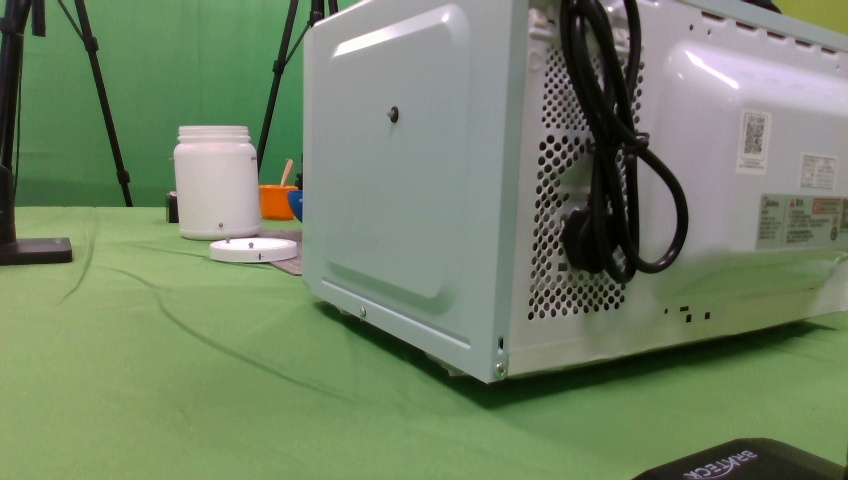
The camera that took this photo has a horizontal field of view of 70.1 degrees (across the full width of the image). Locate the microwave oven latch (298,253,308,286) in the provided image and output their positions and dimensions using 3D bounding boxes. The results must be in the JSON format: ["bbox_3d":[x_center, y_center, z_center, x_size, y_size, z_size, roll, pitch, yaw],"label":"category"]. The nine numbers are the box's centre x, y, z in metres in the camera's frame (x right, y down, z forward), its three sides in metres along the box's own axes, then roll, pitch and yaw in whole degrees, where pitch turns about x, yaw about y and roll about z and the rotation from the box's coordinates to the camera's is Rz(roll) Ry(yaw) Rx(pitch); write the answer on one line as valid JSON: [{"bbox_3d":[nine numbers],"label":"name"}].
[{"bbox_3d":[-0.081,0.027,0.582,0.079,0.029,0.030,-1,7,-32],"label":"microwave oven latch"}]

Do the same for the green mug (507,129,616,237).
[{"bbox_3d":[0.139,-0.058,0.633,0.093,0.105,0.124,-3,6,-44],"label":"green mug"}]

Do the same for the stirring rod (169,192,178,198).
[{"bbox_3d":[-0.465,-0.098,1.283,0.014,0.006,0.177,42,21,17],"label":"stirring rod"}]

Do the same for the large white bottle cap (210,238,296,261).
[{"bbox_3d":[-0.236,0.012,0.839,0.115,0.018,0.115,1,7,0],"label":"large white bottle cap"}]

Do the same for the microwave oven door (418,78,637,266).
[{"bbox_3d":[0.132,-0.104,0.894,0.354,0.243,0.039,9,10,43],"label":"microwave oven door"}]

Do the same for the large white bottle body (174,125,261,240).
[{"bbox_3d":[-0.349,-0.100,1.025,0.131,0.184,0.130,-1,9,0],"label":"large white bottle body"}]

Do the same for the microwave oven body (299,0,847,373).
[{"bbox_3d":[0.151,-0.055,0.542,0.444,0.260,0.324,-2,7,-33],"label":"microwave oven body"}]

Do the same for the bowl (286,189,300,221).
[{"bbox_3d":[-0.179,-0.051,1.115,0.151,0.077,0.151,3,8,0],"label":"bowl"}]

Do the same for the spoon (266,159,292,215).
[{"bbox_3d":[-0.334,-0.127,1.423,0.041,0.193,0.022,0,-37,7],"label":"spoon"}]
